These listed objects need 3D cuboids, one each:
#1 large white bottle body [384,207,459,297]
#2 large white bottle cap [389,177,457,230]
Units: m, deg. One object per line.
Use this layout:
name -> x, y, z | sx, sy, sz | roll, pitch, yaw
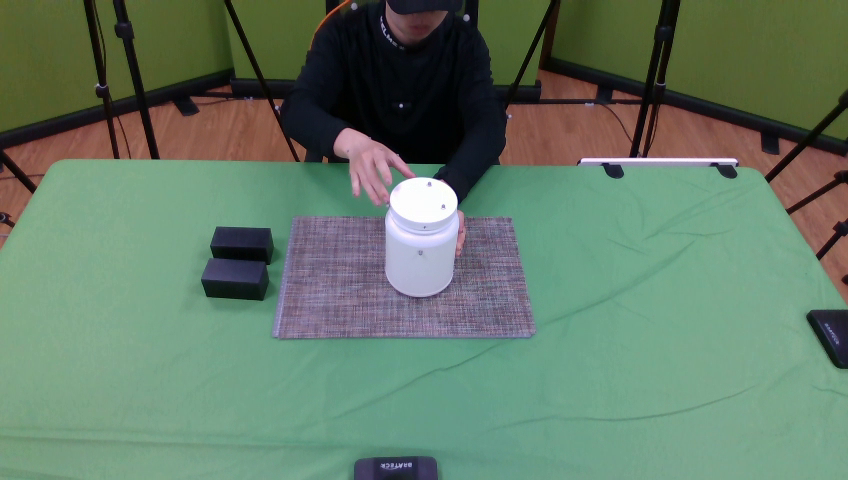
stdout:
large white bottle body -> -0.006, -0.002, 1.082 | 0.131, 0.185, 0.130 | 2, 46, -2
large white bottle cap -> -0.001, -0.063, 1.018 | 0.115, 0.018, 0.114 | 2, 47, -2
